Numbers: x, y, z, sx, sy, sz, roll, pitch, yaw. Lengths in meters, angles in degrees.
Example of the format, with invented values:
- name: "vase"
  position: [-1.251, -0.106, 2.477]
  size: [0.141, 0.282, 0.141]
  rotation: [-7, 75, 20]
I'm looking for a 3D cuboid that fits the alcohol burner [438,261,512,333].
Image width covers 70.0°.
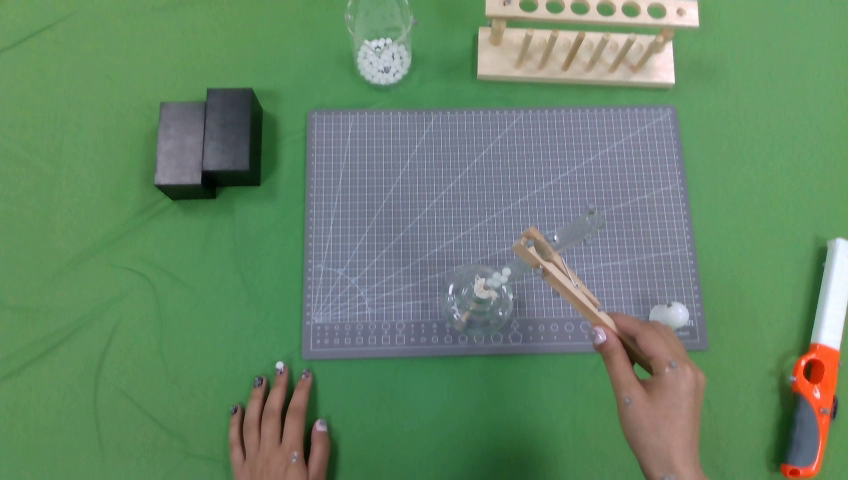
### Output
- name: "alcohol burner"
  position: [0.055, 0.056, 0.627]
  size: [0.078, 0.119, 0.077]
  rotation: [1, 75, -3]

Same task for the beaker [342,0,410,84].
- name: "beaker"
  position: [-0.053, -0.232, 0.705]
  size: [0.074, 0.100, 0.083]
  rotation: [1, 76, -1]

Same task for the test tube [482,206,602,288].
- name: "test tube"
  position: [0.088, 0.011, 0.488]
  size: [0.017, 0.150, 0.017]
  rotation: [11, 63, -23]

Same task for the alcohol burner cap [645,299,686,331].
- name: "alcohol burner cap"
  position: [0.267, 0.081, 0.664]
  size: [0.034, 0.048, 0.033]
  rotation: [0, 75, -1]

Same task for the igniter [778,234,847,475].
- name: "igniter"
  position: [0.436, 0.124, 0.668]
  size: [0.057, 0.025, 0.275]
  rotation: [21, 77, -6]

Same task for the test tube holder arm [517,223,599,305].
- name: "test tube holder arm"
  position: [0.109, 0.022, 0.490]
  size: [0.088, 0.015, 0.010]
  rotation: [49, 54, -6]

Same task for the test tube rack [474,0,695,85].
- name: "test tube rack"
  position: [0.185, -0.241, 0.721]
  size: [0.242, 0.085, 0.066]
  rotation: [2, 76, -1]

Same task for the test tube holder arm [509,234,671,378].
- name: "test tube holder arm"
  position: [0.138, 0.057, 0.494]
  size: [0.179, 0.015, 0.013]
  rotation: [42, 56, -11]
